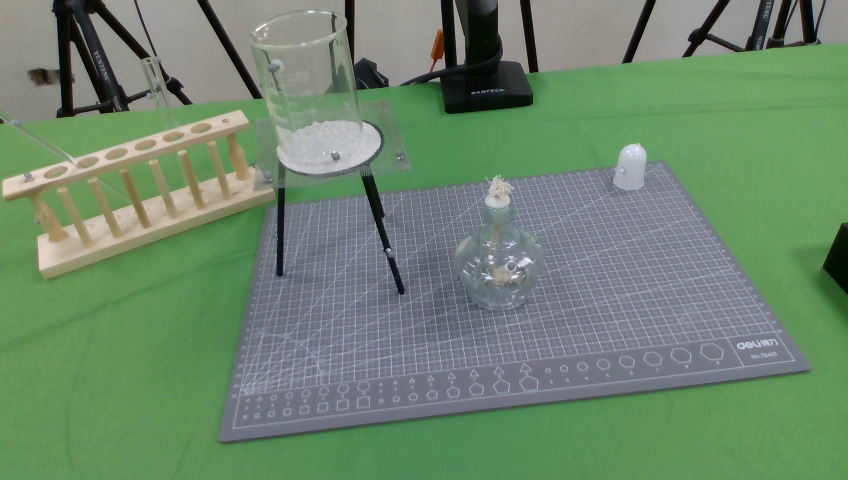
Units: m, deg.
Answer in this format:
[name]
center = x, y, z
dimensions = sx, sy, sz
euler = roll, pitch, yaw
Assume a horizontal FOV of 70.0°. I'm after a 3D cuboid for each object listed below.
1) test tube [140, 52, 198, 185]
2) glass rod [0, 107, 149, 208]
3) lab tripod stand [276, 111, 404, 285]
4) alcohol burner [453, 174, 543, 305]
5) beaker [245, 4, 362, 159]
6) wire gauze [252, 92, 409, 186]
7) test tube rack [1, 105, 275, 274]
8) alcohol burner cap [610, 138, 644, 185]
[test tube]
center = -0.266, -0.123, 0.638
dimensions = 0.017, 0.151, 0.017
euler = -3, 37, 2
[glass rod]
center = -0.355, -0.086, 0.595
dimensions = 0.008, 0.202, 0.008
euler = -19, 50, 25
[lab tripod stand]
center = -0.077, -0.036, 0.550
dimensions = 0.148, 0.133, 0.147
euler = -4, 42, 4
[alcohol burner]
center = 0.062, -0.003, 0.510
dimensions = 0.078, 0.120, 0.077
euler = -4, 39, 3
[beaker]
center = -0.092, -0.122, 0.474
dimensions = 0.083, 0.101, 0.073
euler = 14, 44, 23
[wire gauze]
center = -0.082, -0.086, 0.507
dimensions = 0.125, 0.011, 0.120
euler = -12, 39, -3
[test tube rack]
center = -0.293, -0.058, 0.642
dimensions = 0.243, 0.086, 0.066
euler = -22, 43, -19
[alcohol burner cap]
center = 0.218, -0.086, 0.645
dimensions = 0.034, 0.048, 0.033
euler = -3, 40, 3
